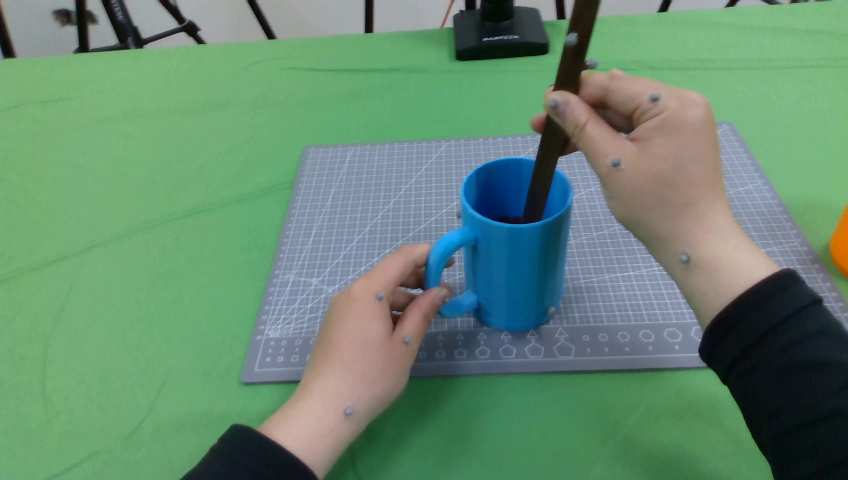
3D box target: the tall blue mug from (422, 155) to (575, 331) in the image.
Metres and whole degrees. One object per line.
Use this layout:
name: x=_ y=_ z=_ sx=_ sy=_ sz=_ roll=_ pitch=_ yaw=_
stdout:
tall blue mug: x=0.057 y=0.013 z=0.434 sx=0.077 sy=0.109 sz=0.107 roll=21 pitch=50 yaw=24

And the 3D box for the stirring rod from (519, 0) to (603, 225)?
stirring rod: x=0.078 y=-0.067 z=0.359 sx=0.014 sy=0.177 sz=0.006 roll=16 pitch=44 yaw=11
